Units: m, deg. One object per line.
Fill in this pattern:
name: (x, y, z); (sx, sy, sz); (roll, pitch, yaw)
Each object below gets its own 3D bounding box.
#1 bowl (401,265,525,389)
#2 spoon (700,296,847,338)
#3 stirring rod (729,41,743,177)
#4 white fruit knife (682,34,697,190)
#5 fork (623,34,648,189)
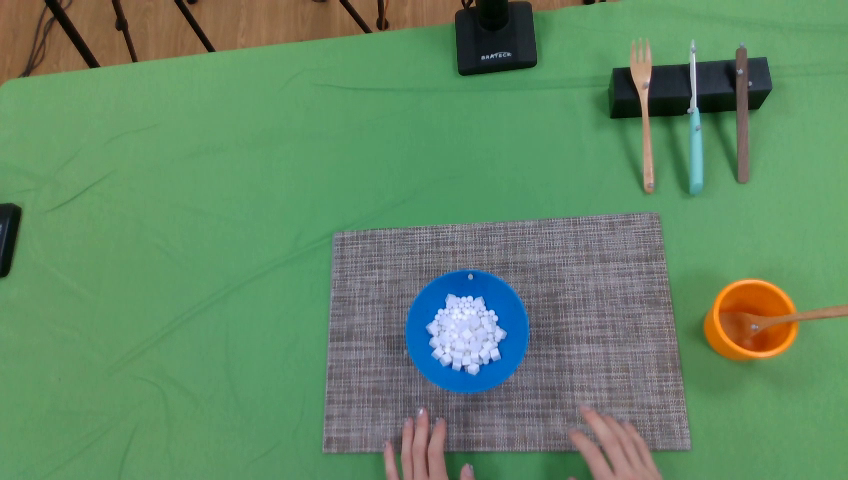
bowl: (0.051, 0.113, 0.757); (0.151, 0.077, 0.150); (-3, 71, 8)
spoon: (0.407, 0.081, 0.681); (0.022, 0.193, 0.041); (14, 68, -33)
stirring rod: (0.413, -0.171, 0.801); (0.014, 0.006, 0.176); (-3, 97, 15)
white fruit knife: (0.350, -0.172, 0.807); (0.016, 0.027, 0.207); (-2, 88, 5)
fork: (0.289, -0.172, 0.818); (0.028, 0.018, 0.207); (-5, 91, 4)
